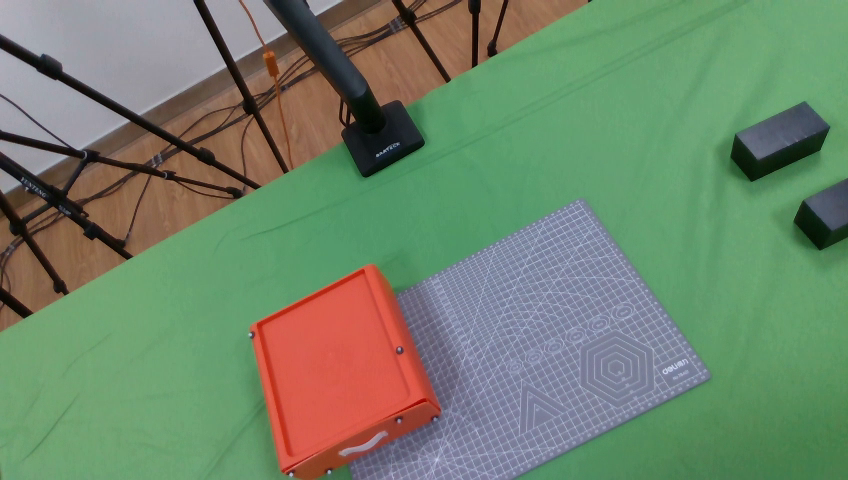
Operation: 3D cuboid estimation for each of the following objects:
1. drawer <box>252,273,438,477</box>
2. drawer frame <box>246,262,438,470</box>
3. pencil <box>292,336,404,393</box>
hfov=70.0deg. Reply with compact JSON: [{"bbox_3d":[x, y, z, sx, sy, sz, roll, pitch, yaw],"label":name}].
[{"bbox_3d":[-0.111,0.173,0.805,0.194,0.074,0.209,-28,56,3],"label":"drawer"},{"bbox_3d":[-0.114,0.169,0.807,0.201,0.083,0.211,-28,56,3],"label":"drawer frame"},{"bbox_3d":[-0.107,0.170,0.830,0.192,0.012,0.012,19,70,27],"label":"pencil"}]
